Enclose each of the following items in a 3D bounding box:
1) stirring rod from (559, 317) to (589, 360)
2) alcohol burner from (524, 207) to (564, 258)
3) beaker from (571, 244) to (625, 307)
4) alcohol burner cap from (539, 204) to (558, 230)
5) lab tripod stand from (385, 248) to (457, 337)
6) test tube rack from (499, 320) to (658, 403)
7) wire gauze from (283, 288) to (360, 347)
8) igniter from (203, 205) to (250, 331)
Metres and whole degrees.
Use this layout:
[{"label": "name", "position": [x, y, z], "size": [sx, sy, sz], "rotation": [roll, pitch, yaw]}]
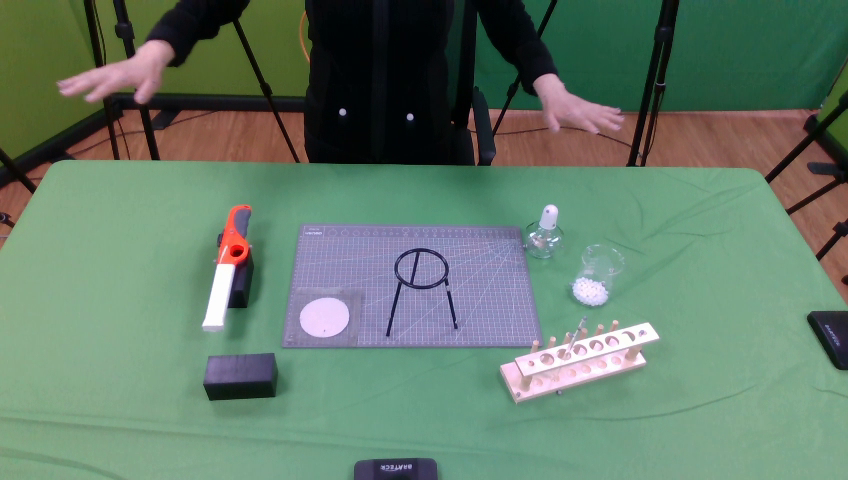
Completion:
[{"label": "stirring rod", "position": [0.221, 0.155, 0.912], "size": [0.014, 0.177, 0.006], "rotation": [4, 58, 2]}, {"label": "alcohol burner", "position": [0.236, -0.021, 1.174], "size": [0.078, 0.120, 0.077], "rotation": [1, 48, -1]}, {"label": "beaker", "position": [0.315, 0.067, 1.105], "size": [0.084, 0.101, 0.073], "rotation": [-9, 48, -13]}, {"label": "alcohol burner cap", "position": [0.238, -0.046, 1.148], "size": [0.034, 0.048, 0.033], "rotation": [2, 43, -1]}, {"label": "lab tripod stand", "position": [-0.010, 0.087, 1.032], "size": [0.148, 0.132, 0.147], "rotation": [1, 45, -1]}, {"label": "test tube rack", "position": [0.252, 0.187, 0.994], "size": [0.243, 0.085, 0.066], "rotation": [-12, 48, -15]}, {"label": "wire gauze", "position": [-0.178, 0.132, 1.063], "size": [0.125, 0.011, 0.120], "rotation": [2, 46, 1]}, {"label": "igniter", "position": [-0.345, 0.038, 1.065], "size": [0.057, 0.025, 0.274], "rotation": [2, 49, -6]}]
